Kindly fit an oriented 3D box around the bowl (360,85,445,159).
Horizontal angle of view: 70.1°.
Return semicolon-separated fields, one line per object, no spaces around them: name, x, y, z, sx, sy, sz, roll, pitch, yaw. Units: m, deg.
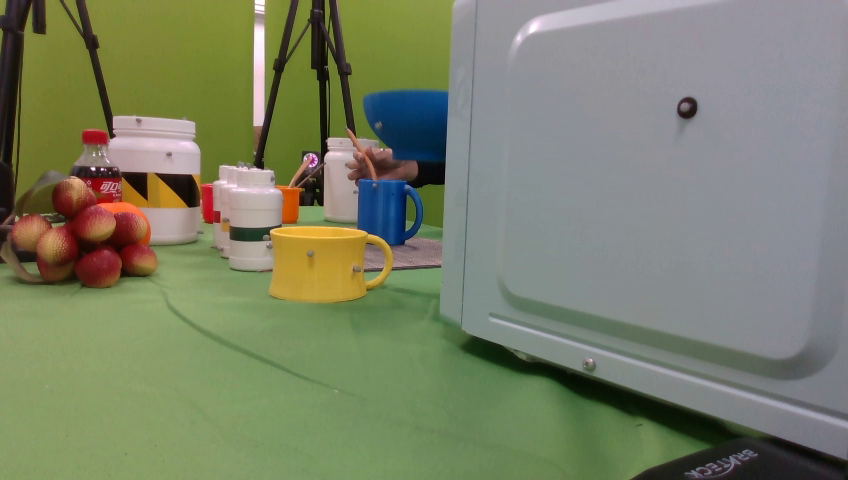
bowl;-0.007;-0.143;0.764;0.151;0.077;0.151;1;4;0

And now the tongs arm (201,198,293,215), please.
tongs arm;-0.423;-0.084;1.472;0.050;0.026;0.386;2;6;21

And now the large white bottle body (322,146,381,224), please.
large white bottle body;-0.163;-0.135;1.368;0.131;0.184;0.130;2;7;0

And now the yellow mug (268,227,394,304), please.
yellow mug;-0.094;0.024;0.629;0.131;0.064;0.099;1;7;-22

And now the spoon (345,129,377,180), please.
spoon;-0.094;-0.119;1.038;0.021;0.193;0.042;-33;-24;21

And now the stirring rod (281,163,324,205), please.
stirring rod;-0.278;-0.105;1.293;0.176;0.006;0.014;-47;24;-18

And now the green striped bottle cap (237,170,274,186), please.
green striped bottle cap;-0.206;-0.075;0.737;0.044;0.020;0.044;1;6;0

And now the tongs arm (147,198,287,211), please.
tongs arm;-0.504;-0.091;1.513;0.028;0.028;0.389;0;4;37

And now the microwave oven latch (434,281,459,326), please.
microwave oven latch;0.044;0.045;0.470;0.079;0.029;0.030;-3;8;-40

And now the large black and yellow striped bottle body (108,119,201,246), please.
large black and yellow striped bottle body;-0.412;-0.088;0.930;0.131;0.184;0.130;3;7;0

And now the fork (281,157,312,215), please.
fork;-0.289;-0.116;1.321;0.028;0.019;0.207;6;51;19

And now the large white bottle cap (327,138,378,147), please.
large white bottle cap;-0.160;-0.218;1.357;0.115;0.018;0.115;2;8;0

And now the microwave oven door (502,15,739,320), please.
microwave oven door;0.217;-0.065;0.601;0.358;0.243;0.039;-4;10;-41

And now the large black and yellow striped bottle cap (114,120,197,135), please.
large black and yellow striped bottle cap;-0.407;-0.171;0.920;0.115;0.019;0.115;2;9;0

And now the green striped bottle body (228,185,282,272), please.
green striped bottle body;-0.208;-0.023;0.745;0.063;0.119;0.063;3;7;0

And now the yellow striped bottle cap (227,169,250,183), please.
yellow striped bottle cap;-0.243;-0.086;0.818;0.044;0.018;0.044;3;7;0

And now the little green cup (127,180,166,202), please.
little green cup;-0.486;-0.086;1.061;0.061;0.038;0.061;1;7;0

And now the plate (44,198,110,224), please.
plate;-0.617;-0.056;1.179;0.209;0.038;0.209;3;7;0

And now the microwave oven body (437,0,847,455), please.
microwave oven body;0.279;-0.040;0.464;0.444;0.260;0.324;-3;9;-41

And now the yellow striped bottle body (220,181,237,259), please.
yellow striped bottle body;-0.246;-0.036;0.825;0.063;0.120;0.063;2;8;0

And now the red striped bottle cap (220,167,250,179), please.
red striped bottle cap;-0.281;-0.100;0.901;0.044;0.017;0.044;0;5;0

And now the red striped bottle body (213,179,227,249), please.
red striped bottle body;-0.284;-0.048;0.909;0.063;0.119;0.063;3;10;0

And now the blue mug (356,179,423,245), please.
blue mug;-0.056;-0.046;1.005;0.116;0.106;0.082;5;8;21
